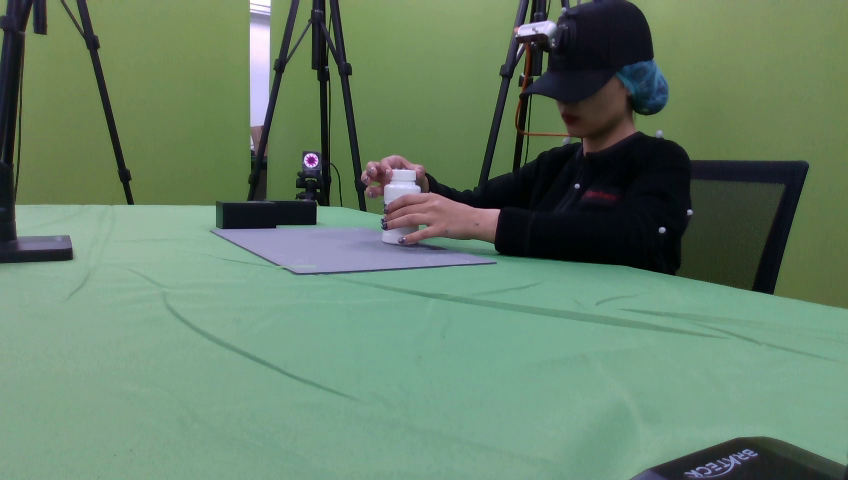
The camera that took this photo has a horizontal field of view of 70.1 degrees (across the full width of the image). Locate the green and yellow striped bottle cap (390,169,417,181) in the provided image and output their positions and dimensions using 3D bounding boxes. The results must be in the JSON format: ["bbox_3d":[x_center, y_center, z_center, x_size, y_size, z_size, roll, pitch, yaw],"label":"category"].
[{"bbox_3d":[-0.034,-0.109,1.012,0.045,0.020,0.045,0,8,0],"label":"green and yellow striped bottle cap"}]

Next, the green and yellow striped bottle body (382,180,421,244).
[{"bbox_3d":[-0.038,-0.055,1.018,0.063,0.119,0.063,3,8,0],"label":"green and yellow striped bottle body"}]
